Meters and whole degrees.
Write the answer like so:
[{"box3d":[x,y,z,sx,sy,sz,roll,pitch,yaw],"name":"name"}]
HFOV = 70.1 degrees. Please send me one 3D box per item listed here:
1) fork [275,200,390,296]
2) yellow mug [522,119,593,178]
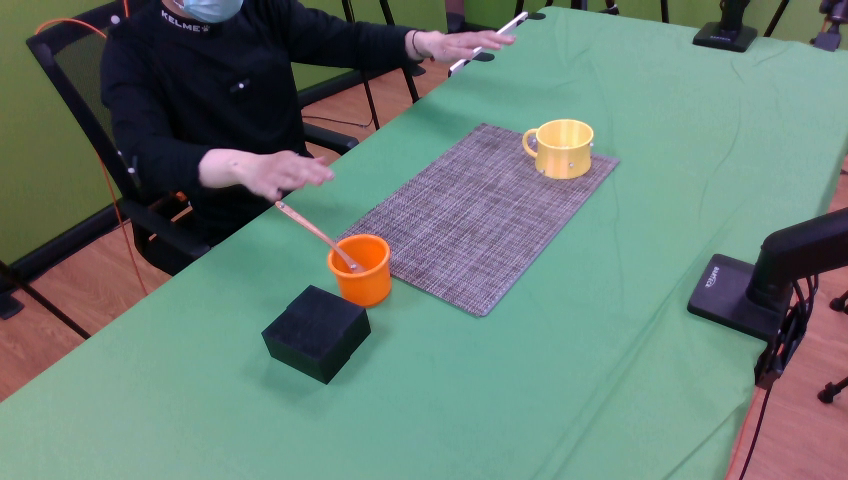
[{"box3d":[-0.133,0.011,0.876,0.208,0.018,0.028,42,58,-11],"name":"fork"},{"box3d":[0.237,-0.170,1.092,0.130,0.064,0.100,17,47,27],"name":"yellow mug"}]
